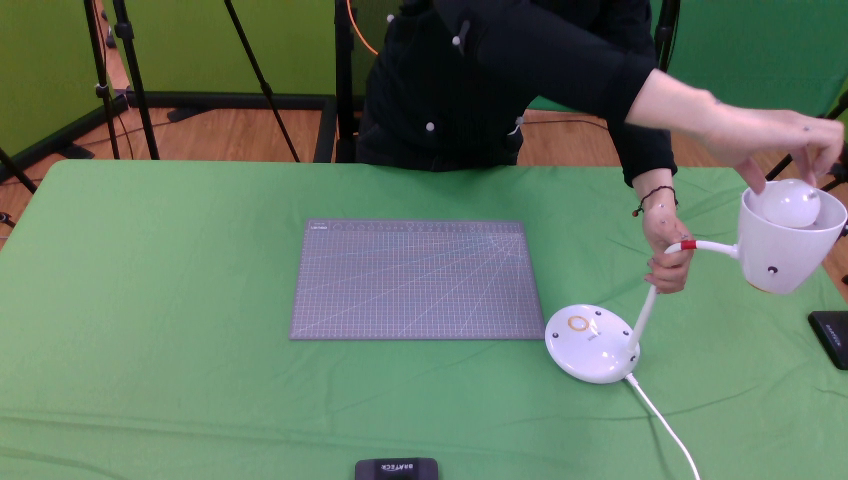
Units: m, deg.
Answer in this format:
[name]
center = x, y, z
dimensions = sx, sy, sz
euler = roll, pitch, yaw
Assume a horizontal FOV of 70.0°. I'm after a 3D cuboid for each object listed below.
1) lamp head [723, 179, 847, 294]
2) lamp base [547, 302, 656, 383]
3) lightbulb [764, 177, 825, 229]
[lamp head]
center = 0.426, 0.002, 0.727
dimensions = 0.112, 0.123, 0.111
euler = 0, 38, 0
[lamp base]
center = 0.304, 0.127, 0.982
dimensions = 0.160, 0.181, 0.178
euler = -33, 59, -29
[lightbulb]
center = 0.426, -0.023, 0.707
dimensions = 0.059, 0.108, 0.059
euler = -8, 37, 6
